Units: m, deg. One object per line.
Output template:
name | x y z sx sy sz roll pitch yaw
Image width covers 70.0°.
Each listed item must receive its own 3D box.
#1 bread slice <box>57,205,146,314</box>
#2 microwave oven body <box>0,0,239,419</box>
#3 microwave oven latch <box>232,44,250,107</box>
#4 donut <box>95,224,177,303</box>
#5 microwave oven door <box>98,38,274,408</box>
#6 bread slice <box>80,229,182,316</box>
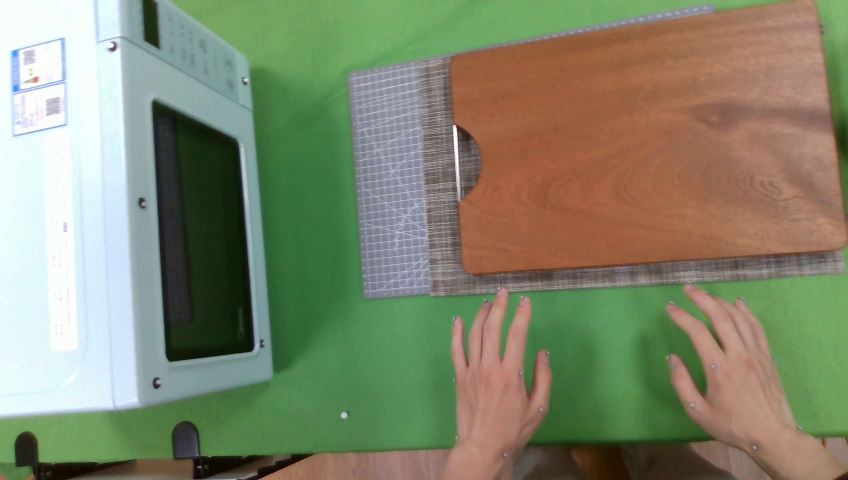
bread slice | -0.376 0.032 0.700 0.134 0.018 0.106 -20 82 27
microwave oven body | -0.401 -0.030 0.727 0.325 0.261 0.440 -8 84 14
microwave oven latch | -0.252 -0.216 0.803 0.030 0.029 0.079 -8 84 14
donut | -0.354 0.029 0.744 0.099 0.048 0.099 0 101 3
microwave oven door | -0.257 -0.010 0.681 0.039 0.245 0.354 -9 83 15
bread slice | -0.379 0.039 0.778 0.131 0.019 0.105 6 92 8
